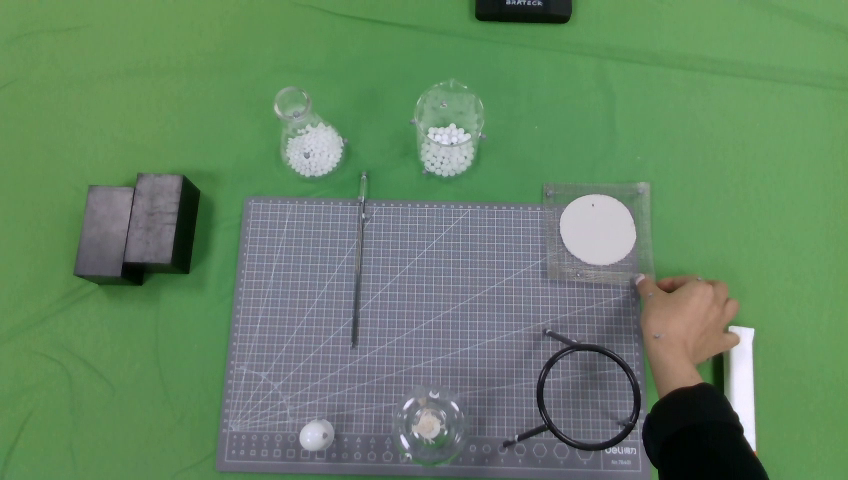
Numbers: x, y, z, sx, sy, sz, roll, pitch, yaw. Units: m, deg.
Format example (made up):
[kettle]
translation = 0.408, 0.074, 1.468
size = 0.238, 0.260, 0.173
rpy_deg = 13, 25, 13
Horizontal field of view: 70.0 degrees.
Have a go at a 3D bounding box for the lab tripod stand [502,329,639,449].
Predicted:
[lab tripod stand]
translation = 0.139, 0.154, 0.584
size = 0.148, 0.132, 0.147
rpy_deg = 0, 77, 0

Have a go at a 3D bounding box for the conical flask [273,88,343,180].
[conical flask]
translation = -0.133, -0.120, 0.662
size = 0.075, 0.122, 0.075
rpy_deg = 0, 75, 0

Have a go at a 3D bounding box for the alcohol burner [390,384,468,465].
[alcohol burner]
translation = 0.005, 0.179, 0.587
size = 0.078, 0.119, 0.077
rpy_deg = 0, 77, 0

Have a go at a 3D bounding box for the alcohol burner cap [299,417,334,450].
[alcohol burner cap]
translation = -0.112, 0.198, 0.618
size = 0.034, 0.048, 0.033
rpy_deg = 0, 75, -1

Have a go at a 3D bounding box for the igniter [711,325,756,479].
[igniter]
translation = 0.322, 0.226, 0.625
size = 0.057, 0.025, 0.275
rpy_deg = 7, 75, -10

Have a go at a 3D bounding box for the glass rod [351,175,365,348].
[glass rod]
translation = -0.074, 0.020, 0.681
size = 0.008, 0.008, 0.198
rpy_deg = 1, 75, 0

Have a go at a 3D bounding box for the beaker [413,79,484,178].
[beaker]
translation = 0.025, -0.120, 0.675
size = 0.074, 0.101, 0.083
rpy_deg = 4, 74, 1

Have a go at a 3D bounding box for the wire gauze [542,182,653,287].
[wire gauze]
translation = 0.198, -0.009, 0.693
size = 0.125, 0.011, 0.121
rpy_deg = 2, 76, 0
